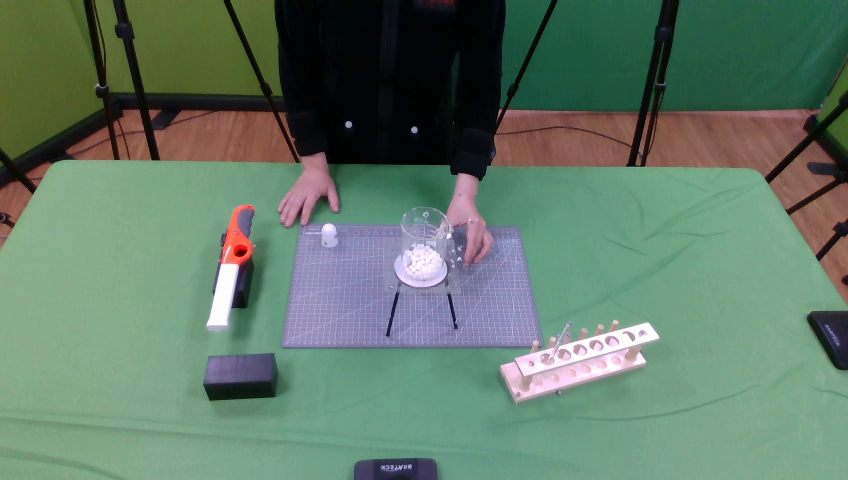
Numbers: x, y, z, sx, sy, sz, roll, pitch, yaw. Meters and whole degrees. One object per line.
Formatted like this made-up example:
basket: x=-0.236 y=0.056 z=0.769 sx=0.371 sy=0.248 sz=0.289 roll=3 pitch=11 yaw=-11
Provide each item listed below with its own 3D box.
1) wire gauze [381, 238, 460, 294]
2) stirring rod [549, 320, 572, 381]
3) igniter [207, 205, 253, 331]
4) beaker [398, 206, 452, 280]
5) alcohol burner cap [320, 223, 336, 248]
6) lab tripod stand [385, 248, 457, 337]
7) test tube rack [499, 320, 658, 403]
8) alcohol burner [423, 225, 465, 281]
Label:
wire gauze: x=-0.008 y=0.042 z=0.985 sx=0.125 sy=0.011 sz=0.120 roll=-1 pitch=43 yaw=-2
stirring rod: x=0.202 y=0.167 z=0.901 sx=0.006 sy=0.177 sz=0.014 roll=-17 pitch=54 yaw=-11
igniter: x=-0.339 y=0.038 z=1.066 sx=0.057 sy=0.025 sz=0.274 roll=2 pitch=48 yaw=-7
beaker: x=0.000 y=0.008 z=0.950 sx=0.084 sy=0.101 sz=0.073 roll=10 pitch=45 yaw=6
alcohol burner cap: x=-0.188 y=-0.011 z=1.176 sx=0.034 sy=0.048 sz=0.033 roll=2 pitch=46 yaw=-2
lab tripod stand: x=-0.010 y=0.087 z=1.032 sx=0.148 sy=0.132 sz=0.147 roll=1 pitch=45 yaw=-1
test tube rack: x=0.252 y=0.187 z=0.994 sx=0.243 sy=0.085 sz=0.066 roll=-12 pitch=48 yaw=-15
alcohol burner: x=0.037 y=0.020 z=1.115 sx=0.078 sy=0.120 sz=0.077 roll=1 pitch=46 yaw=-1
